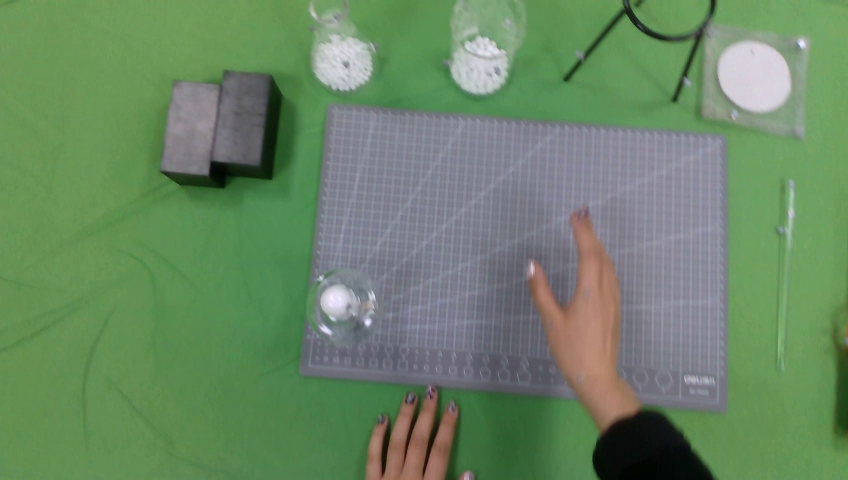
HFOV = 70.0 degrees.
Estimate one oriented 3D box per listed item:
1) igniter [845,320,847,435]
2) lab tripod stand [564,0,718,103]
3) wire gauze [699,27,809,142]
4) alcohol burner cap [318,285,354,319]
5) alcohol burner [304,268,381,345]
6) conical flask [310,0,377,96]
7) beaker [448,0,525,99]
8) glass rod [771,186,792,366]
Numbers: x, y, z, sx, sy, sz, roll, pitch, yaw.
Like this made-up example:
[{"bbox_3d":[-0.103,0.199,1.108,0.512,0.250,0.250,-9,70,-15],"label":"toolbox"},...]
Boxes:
[{"bbox_3d":[0.477,0.074,0.645,0.057,0.025,0.275,12,81,-10],"label":"igniter"},{"bbox_3d":[0.230,-0.214,0.636,0.148,0.132,0.148,0,82,0],"label":"lab tripod stand"},{"bbox_3d":[0.379,-0.182,0.696,0.125,0.011,0.121,11,81,-1],"label":"wire gauze"},{"bbox_3d":[-0.081,0.056,0.556,0.034,0.048,0.034,0,84,-4],"label":"alcohol burner cap"},{"bbox_3d":[-0.082,0.063,0.592,0.078,0.119,0.077,0,79,2],"label":"alcohol burner"},{"bbox_3d":[-0.091,-0.208,0.635,0.075,0.122,0.075,0,80,0],"label":"conical flask"},{"bbox_3d":[0.065,-0.203,0.649,0.084,0.100,0.074,-33,82,-6],"label":"beaker"},{"bbox_3d":[0.390,0.037,0.659,0.008,0.008,0.199,9,83,1],"label":"glass rod"}]
